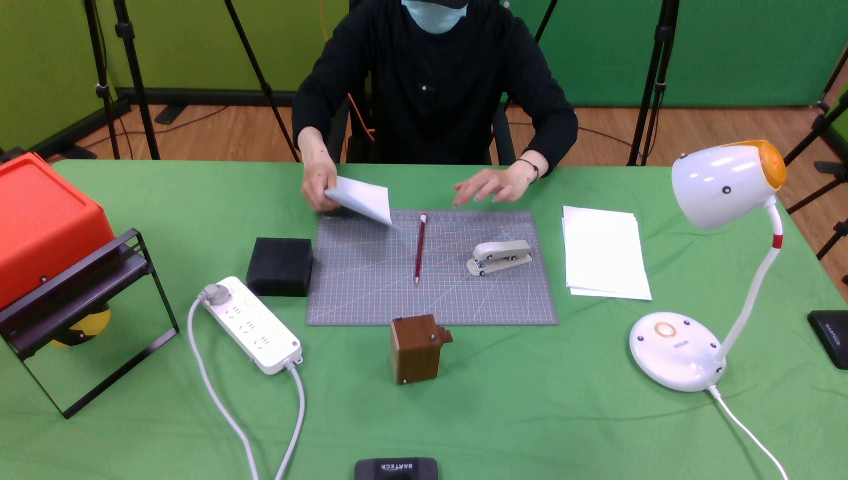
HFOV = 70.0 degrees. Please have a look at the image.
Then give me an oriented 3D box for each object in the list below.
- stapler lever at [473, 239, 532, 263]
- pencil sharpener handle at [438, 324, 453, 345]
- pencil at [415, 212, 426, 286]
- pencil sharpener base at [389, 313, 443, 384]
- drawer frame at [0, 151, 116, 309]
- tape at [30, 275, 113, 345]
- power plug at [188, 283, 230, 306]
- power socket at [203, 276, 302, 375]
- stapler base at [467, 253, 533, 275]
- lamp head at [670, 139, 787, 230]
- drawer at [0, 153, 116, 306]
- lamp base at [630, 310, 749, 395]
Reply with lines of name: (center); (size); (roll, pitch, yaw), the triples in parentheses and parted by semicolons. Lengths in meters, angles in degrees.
stapler lever: (0.150, 0.017, 1.155); (0.118, 0.040, 0.026); (-13, 50, -17)
pencil sharpener handle: (0.036, 0.155, 0.976); (0.031, 0.068, 0.036); (-8, 69, -11)
pencil: (-0.007, 0.014, 1.190); (0.012, 0.012, 0.193); (5, 48, 1)
pencil sharpener base: (-0.013, 0.175, 0.971); (0.077, 0.107, 0.061); (-8, 47, -11)
drawer frame: (-0.604, -0.013, 0.876); (0.201, 0.083, 0.213); (31, 52, 23)
tape: (-0.593, 0.117, 1.021); (0.117, 0.053, 0.116); (2, 46, -2)
power plug: (-0.368, 0.099, 1.037); (0.072, 0.053, 0.035); (-24, 52, -26)
power socket: (-0.297, 0.141, 1.034); (0.072, 0.033, 0.225); (-34, 58, -30)
stapler base: (0.148, 0.034, 1.171); (0.131, 0.024, 0.041); (-12, 50, -18)
lamp head: (0.415, -0.079, 0.812); (0.113, 0.123, 0.112); (12, 70, -37)
drawer: (-0.601, -0.015, 0.880); (0.193, 0.073, 0.211); (32, 53, 23)
lamp base: (0.447, 0.143, 0.984); (0.161, 0.181, 0.178); (-24, 55, -24)
